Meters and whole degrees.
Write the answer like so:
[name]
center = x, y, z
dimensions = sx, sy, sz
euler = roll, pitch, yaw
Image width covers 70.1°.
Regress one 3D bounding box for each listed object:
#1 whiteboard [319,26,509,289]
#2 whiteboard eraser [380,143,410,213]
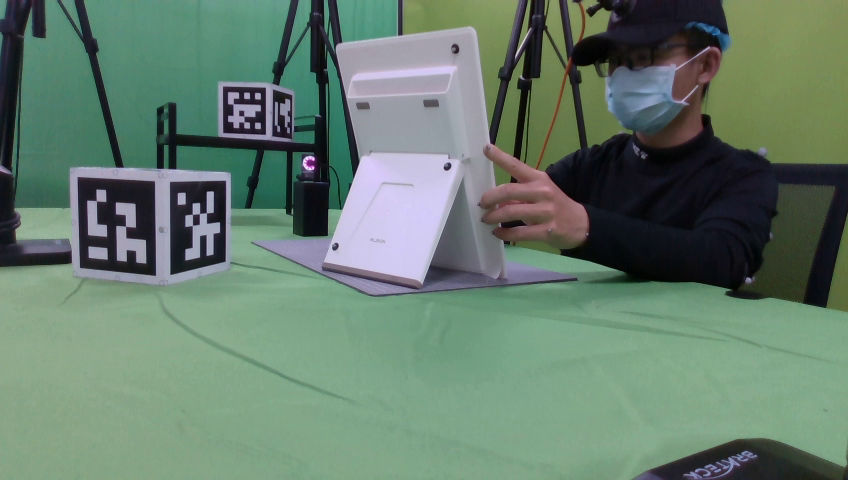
[whiteboard]
center = -0.046, -0.076, 0.720
dimensions = 0.216, 0.305, 0.144
euler = 9, 29, 39
[whiteboard eraser]
center = -0.039, -0.084, 0.823
dimensions = 0.041, 0.101, 0.019
euler = 24, 40, 32
